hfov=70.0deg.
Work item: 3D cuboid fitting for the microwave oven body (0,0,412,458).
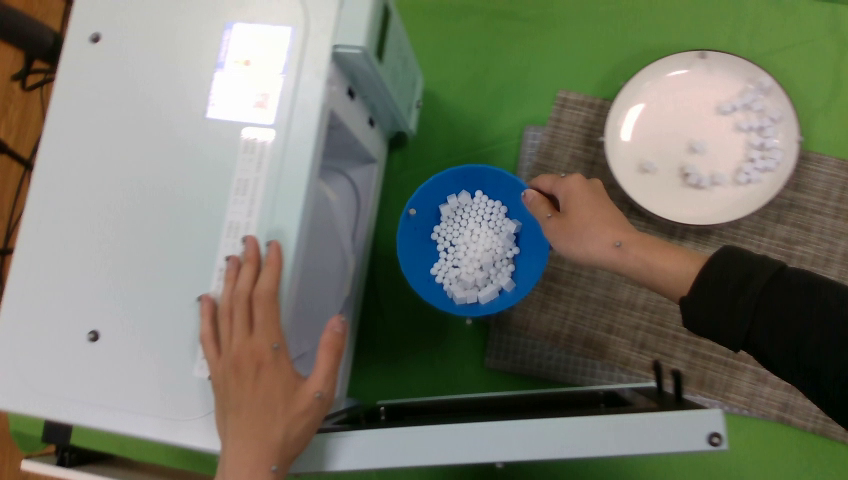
[{"bbox_3d":[-0.216,-0.034,0.656,0.325,0.261,0.440,7,84,10],"label":"microwave oven body"}]

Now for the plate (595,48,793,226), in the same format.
[{"bbox_3d":[0.303,-0.115,0.694,0.209,0.038,0.208,-2,80,9],"label":"plate"}]

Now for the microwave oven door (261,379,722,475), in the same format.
[{"bbox_3d":[0.061,0.171,0.575,0.355,0.245,0.039,-7,80,9],"label":"microwave oven door"}]

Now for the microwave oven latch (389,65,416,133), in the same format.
[{"bbox_3d":[-0.029,-0.175,0.744,0.030,0.029,0.079,8,84,10],"label":"microwave oven latch"}]

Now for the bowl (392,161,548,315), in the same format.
[{"bbox_3d":[0.050,0.003,0.616,0.151,0.077,0.151,-1,82,10],"label":"bowl"}]
